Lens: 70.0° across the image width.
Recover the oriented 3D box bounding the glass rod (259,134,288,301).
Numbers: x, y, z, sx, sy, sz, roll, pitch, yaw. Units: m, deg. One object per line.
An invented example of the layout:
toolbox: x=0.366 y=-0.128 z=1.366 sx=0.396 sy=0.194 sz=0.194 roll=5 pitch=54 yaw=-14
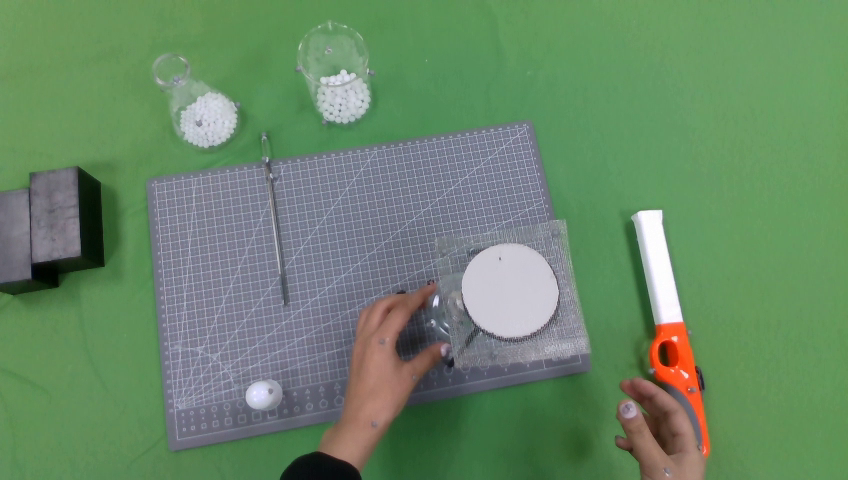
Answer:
glass rod: x=-0.169 y=-0.028 z=0.679 sx=0.008 sy=0.008 sz=0.198 roll=-10 pitch=77 yaw=-5

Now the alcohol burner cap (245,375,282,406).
alcohol burner cap: x=-0.167 y=0.154 z=0.620 sx=0.034 sy=0.048 sz=0.033 roll=1 pitch=76 yaw=-2

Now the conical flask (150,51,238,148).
conical flask: x=-0.253 y=-0.154 z=0.652 sx=0.075 sy=0.122 sz=0.075 roll=0 pitch=76 yaw=-2

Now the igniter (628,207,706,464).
igniter: x=0.264 y=0.098 z=0.660 sx=0.057 sy=0.025 sz=0.275 roll=-3 pitch=77 yaw=-14

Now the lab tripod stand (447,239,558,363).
lab tripod stand: x=0.073 y=0.063 z=0.604 sx=0.148 sy=0.132 sz=0.147 roll=1 pitch=78 yaw=-2

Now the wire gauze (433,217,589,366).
wire gauze: x=0.076 y=0.045 z=0.539 sx=0.125 sy=0.011 sz=0.121 roll=-7 pitch=78 yaw=-3

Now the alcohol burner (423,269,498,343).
alcohol burner: x=0.038 y=0.065 z=0.612 sx=0.078 sy=0.119 sz=0.077 roll=0 pitch=77 yaw=0

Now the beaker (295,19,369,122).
beaker: x=-0.099 y=-0.185 z=0.677 sx=0.074 sy=0.100 sz=0.083 roll=-7 pitch=76 yaw=-4
